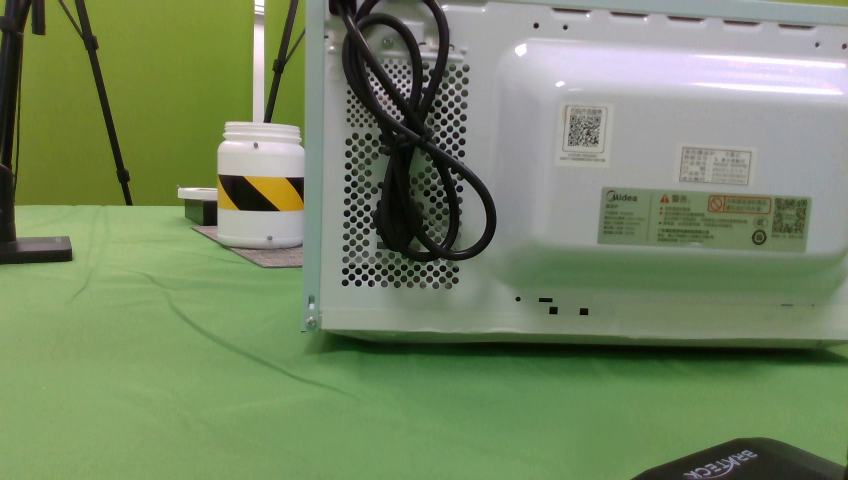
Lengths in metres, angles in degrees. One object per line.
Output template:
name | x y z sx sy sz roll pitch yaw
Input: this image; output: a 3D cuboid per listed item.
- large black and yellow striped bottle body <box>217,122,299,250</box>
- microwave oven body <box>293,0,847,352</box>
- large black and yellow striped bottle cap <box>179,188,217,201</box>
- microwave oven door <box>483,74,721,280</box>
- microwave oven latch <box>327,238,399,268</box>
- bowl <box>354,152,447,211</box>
large black and yellow striped bottle body | -0.250 -0.084 0.931 0.131 0.184 0.130 2 7 0
microwave oven body | 0.122 -0.055 0.550 0.442 0.260 0.325 3 7 -5
large black and yellow striped bottle cap | -0.434 -0.093 1.226 0.115 0.019 0.115 3 9 0
microwave oven door | 0.221 -0.093 0.843 0.039 0.243 0.354 -3 9 -38
microwave oven latch | -0.069 0.015 0.694 0.079 0.029 0.030 3 7 -3
bowl | -0.043 -0.091 0.972 0.151 0.077 0.151 9 6 -1
